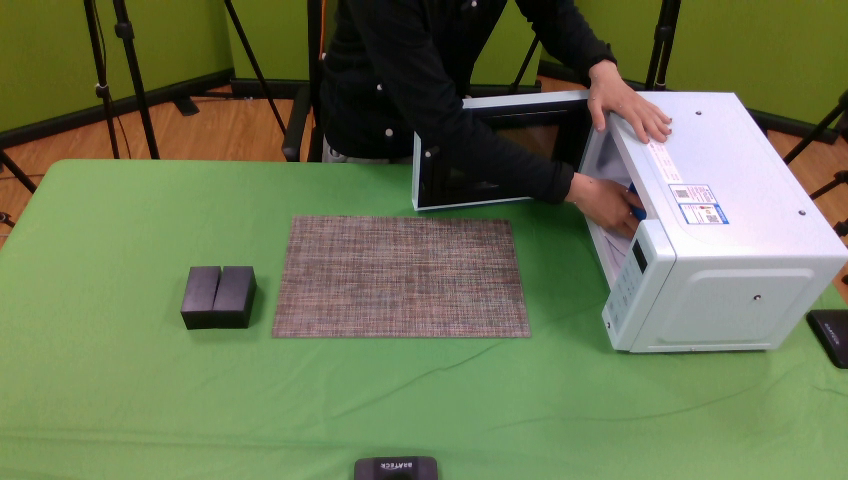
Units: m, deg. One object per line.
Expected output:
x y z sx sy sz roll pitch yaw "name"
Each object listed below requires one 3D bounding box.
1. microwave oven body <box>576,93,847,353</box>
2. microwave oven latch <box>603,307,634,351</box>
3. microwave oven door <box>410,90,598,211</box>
0.475 -0.041 1.109 0.326 0.261 0.438 -1 45 -4 "microwave oven body"
0.332 0.153 1.044 0.030 0.029 0.078 0 45 -3 "microwave oven latch"
0.152 -0.176 1.208 0.356 0.245 0.039 -7 47 -11 "microwave oven door"
